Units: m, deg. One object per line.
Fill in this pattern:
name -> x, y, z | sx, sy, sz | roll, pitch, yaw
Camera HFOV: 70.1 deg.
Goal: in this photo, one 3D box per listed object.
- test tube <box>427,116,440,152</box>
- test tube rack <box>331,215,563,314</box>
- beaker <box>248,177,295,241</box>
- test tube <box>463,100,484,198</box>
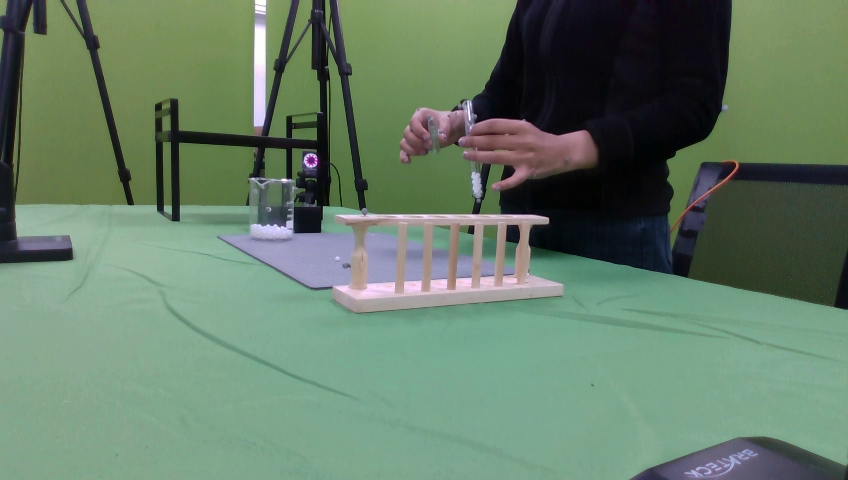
test tube -> 0.016, -0.165, 0.958 | 0.017, 0.017, 0.150 | 3, -7, 4
test tube rack -> 0.031, 0.019, 0.625 | 0.243, 0.085, 0.066 | -1, 8, -28
beaker -> -0.252, -0.051, 0.992 | 0.074, 0.100, 0.084 | 3, 9, 6
test tube -> 0.071, -0.131, 0.865 | 0.017, 0.150, 0.017 | -4, -16, -1
